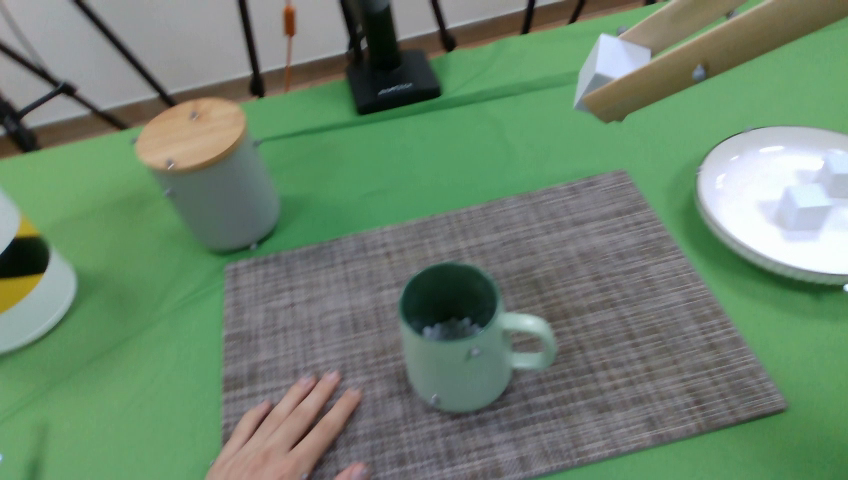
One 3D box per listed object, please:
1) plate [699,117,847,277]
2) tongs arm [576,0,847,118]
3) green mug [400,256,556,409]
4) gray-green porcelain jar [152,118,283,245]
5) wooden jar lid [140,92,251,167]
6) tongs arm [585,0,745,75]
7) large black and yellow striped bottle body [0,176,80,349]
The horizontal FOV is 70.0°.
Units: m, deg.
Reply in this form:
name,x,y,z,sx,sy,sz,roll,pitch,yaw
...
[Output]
name,x,y,z,sx,sy,sz,roll,pitch,yaw
plate,0.375,-0.042,0.586,0.207,0.039,0.205,-5,48,6
tongs arm,0.208,-0.125,0.204,0.386,0.028,0.028,-22,36,51
green mug,0.043,0.077,0.487,0.125,0.106,0.092,3,49,12
gray-green porcelain jar,-0.215,-0.065,0.646,0.106,0.128,0.105,-5,48,5
wooden jar lid,-0.223,-0.107,0.601,0.108,0.021,0.107,-4,51,5
tongs arm,0.215,-0.145,0.215,0.384,0.027,0.050,-26,36,48
large black and yellow striped bottle body,-0.441,0.007,0.580,0.130,0.186,0.129,-5,48,6
